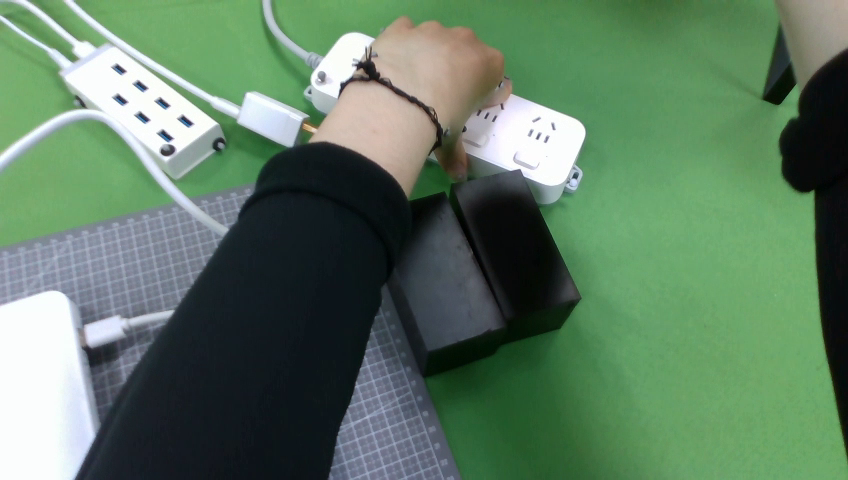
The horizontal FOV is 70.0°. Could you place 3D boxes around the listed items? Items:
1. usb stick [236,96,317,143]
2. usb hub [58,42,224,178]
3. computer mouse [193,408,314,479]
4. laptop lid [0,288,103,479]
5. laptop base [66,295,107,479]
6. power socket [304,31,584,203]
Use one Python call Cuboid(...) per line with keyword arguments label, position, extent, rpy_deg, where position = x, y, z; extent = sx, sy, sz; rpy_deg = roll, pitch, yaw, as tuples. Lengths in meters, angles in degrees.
Cuboid(label="usb stick", position=(-0.109, -0.089, 0.456), extent=(0.059, 0.021, 0.027), rpy_deg=(13, 104, -12))
Cuboid(label="usb hub", position=(-0.213, -0.099, 0.455), extent=(0.124, 0.025, 0.049), rpy_deg=(36, 64, 15))
Cuboid(label="computer mouse", position=(-0.089, 0.145, 0.318), extent=(0.063, 0.041, 0.116), rpy_deg=(-6, 57, -5))
Cuboid(label="laptop lid", position=(-0.335, 0.177, 0.281), extent=(0.357, 0.013, 0.239), rpy_deg=(-18, 66, -14))
Cuboid(label="laptop base", position=(-0.336, 0.181, 0.292), extent=(0.355, 0.023, 0.233), rpy_deg=(-19, 68, -14))
Cuboid(label="power socket", position=(0.016, -0.098, 0.469), extent=(0.226, 0.033, 0.072), rpy_deg=(24, 61, 9))
